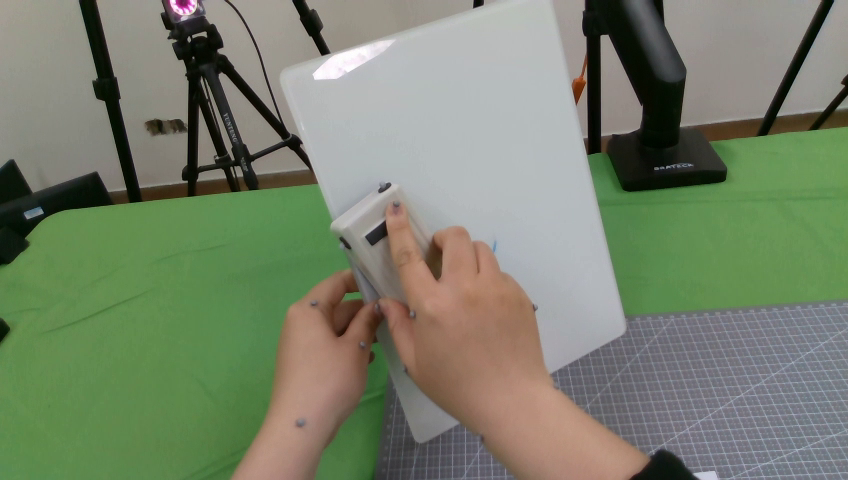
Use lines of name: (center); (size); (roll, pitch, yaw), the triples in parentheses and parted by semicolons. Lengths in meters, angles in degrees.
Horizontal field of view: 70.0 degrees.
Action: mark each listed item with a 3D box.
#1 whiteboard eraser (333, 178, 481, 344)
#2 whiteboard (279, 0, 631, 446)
whiteboard eraser: (-0.011, 0.016, 0.430); (0.055, 0.113, 0.041); (-39, 19, -11)
whiteboard: (0.022, -0.027, 0.530); (0.217, 0.307, 0.143); (-23, 18, -16)
